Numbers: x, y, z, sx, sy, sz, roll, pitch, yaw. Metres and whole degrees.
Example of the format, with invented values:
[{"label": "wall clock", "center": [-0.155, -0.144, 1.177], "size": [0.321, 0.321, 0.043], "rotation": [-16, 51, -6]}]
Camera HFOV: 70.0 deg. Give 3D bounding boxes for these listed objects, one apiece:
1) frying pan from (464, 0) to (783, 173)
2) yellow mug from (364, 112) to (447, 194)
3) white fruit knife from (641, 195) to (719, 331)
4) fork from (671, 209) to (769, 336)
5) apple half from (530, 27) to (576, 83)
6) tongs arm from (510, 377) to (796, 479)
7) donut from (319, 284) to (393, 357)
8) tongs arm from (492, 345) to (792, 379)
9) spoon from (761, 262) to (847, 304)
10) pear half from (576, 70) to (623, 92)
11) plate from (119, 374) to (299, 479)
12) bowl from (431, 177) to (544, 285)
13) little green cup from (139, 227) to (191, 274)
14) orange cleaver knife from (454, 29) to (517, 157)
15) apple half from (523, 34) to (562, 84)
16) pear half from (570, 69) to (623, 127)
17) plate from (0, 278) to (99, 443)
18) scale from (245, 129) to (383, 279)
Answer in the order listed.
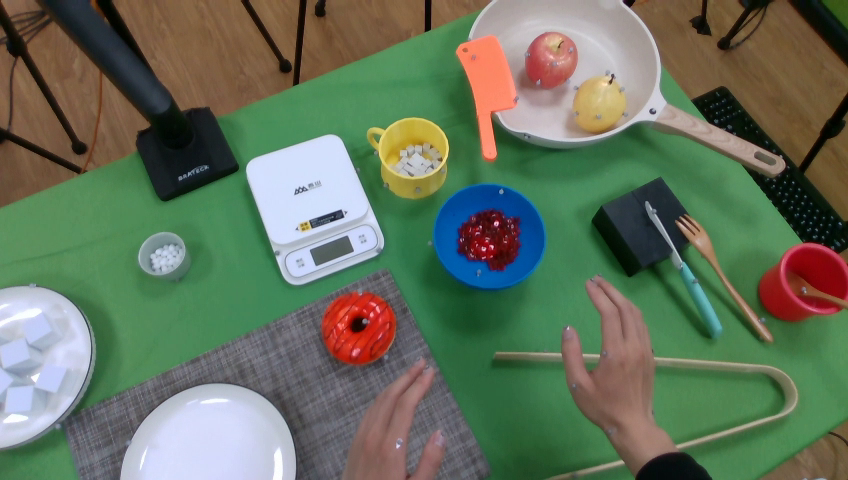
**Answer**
[{"label": "frying pan", "center": [0.288, -0.220, 0.902], "size": [0.485, 0.103, 0.306], "rotation": [32, 72, 18]}, {"label": "yellow mug", "center": [-0.032, -0.133, 0.879], "size": [0.130, 0.064, 0.099], "rotation": [29, 71, 10]}, {"label": "white fruit knife", "center": [0.345, 0.031, 0.822], "size": [0.016, 0.027, 0.207], "rotation": [-28, 87, -11]}, {"label": "fork", "center": [0.406, 0.044, 0.827], "size": [0.028, 0.018, 0.207], "rotation": [-34, 89, -17]}, {"label": "apple half", "center": [0.203, -0.289, 0.937], "size": [0.053, 0.075, 0.080], "rotation": [-34, 70, -17]}, {"label": "tongs arm", "center": [0.291, 0.236, 0.764], "size": [0.385, 0.027, 0.050], "rotation": [-10, 67, -6]}, {"label": "donut", "center": [-0.089, 0.105, 0.794], "size": [0.099, 0.048, 0.098], "rotation": [0, 70, 0]}, {"label": "tongs arm", "center": [0.282, 0.156, 0.794], "size": [0.388, 0.028, 0.028], "rotation": [4, 63, -1]}, {"label": "spoon", "center": [0.524, 0.072, 0.777], "size": [0.041, 0.022, 0.192], "rotation": [-30, 28, -13]}, {"label": "pear half", "center": [0.263, -0.235, 0.909], "size": [0.070, 0.088, 0.031], "rotation": [8, 70, 4]}, {"label": "plate", "center": [-0.254, 0.268, 0.729], "size": [0.209, 0.038, 0.207], "rotation": [1, 70, -1]}, {"label": "bowl", "center": [0.082, -0.002, 0.826], "size": [0.151, 0.077, 0.150], "rotation": [1, 70, -2]}, {"label": "little green cup", "center": [-0.350, 0.017, 0.826], "size": [0.061, 0.039, 0.061], "rotation": [1, 69, -1]}, {"label": "orange cleaver knife", "center": [0.094, -0.217, 0.875], "size": [0.077, 0.012, 0.210], "rotation": [-8, 70, -4]}, {"label": "apple half", "center": [0.172, -0.268, 0.926], "size": [0.033, 0.082, 0.081], "rotation": [-33, 73, -18]}, {"label": "pear half", "center": [0.255, -0.206, 0.888], "size": [0.076, 0.110, 0.055], "rotation": [9, 69, 6]}, {"label": "plate", "center": [-0.517, 0.151, 0.769], "size": [0.208, 0.039, 0.206], "rotation": [1, 69, -2]}, {"label": "scale", "center": [-0.158, -0.055, 0.863], "size": [0.149, 0.032, 0.199], "rotation": [-21, 72, -9]}]
